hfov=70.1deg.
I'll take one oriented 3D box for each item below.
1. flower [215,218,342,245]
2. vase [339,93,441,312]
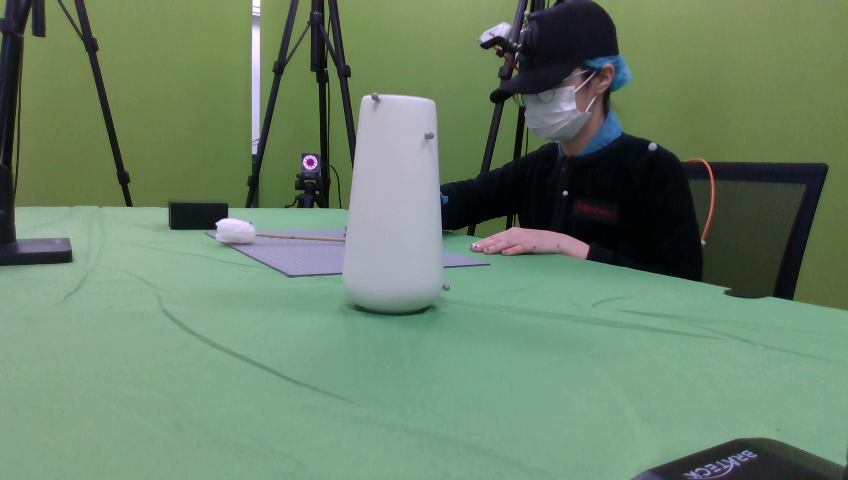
[{"bbox_3d":[-0.153,-0.001,0.993,0.363,0.038,0.044,5,-31,-17],"label":"flower"},{"bbox_3d":[-0.032,-0.035,0.577,0.098,0.200,0.098,1,7,0],"label":"vase"}]
